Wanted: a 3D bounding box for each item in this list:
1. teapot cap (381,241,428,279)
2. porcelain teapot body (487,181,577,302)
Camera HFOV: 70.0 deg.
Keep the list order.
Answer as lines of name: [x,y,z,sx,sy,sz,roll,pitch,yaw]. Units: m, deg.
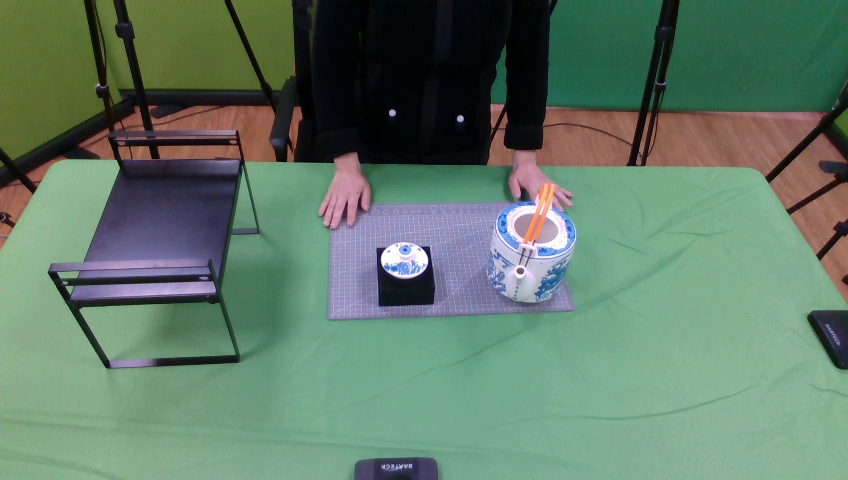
teapot cap: [-0.034,0.031,1.075,0.085,0.044,0.084,2,50,-2]
porcelain teapot body: [0.185,0.018,1.048,0.145,0.226,0.204,15,48,10]
